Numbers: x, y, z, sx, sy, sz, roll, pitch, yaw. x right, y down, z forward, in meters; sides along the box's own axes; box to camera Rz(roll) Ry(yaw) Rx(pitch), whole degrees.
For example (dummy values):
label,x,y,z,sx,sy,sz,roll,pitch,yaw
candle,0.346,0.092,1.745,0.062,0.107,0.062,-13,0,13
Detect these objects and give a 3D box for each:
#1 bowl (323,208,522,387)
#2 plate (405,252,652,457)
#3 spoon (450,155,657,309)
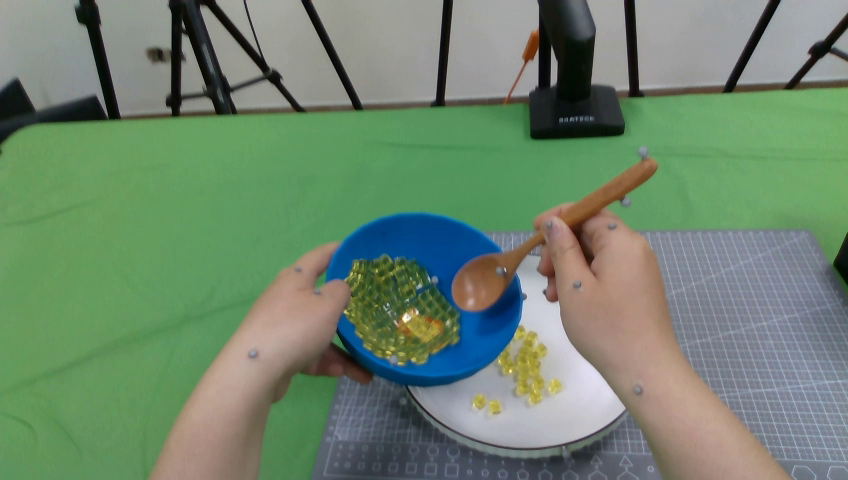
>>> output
label,x,y,z,sx,sy,sz,roll,pitch,yaw
bowl,-0.005,0.056,0.478,0.152,0.077,0.150,6,51,-7
plate,0.082,0.092,0.513,0.207,0.039,0.205,-4,41,4
spoon,0.078,0.000,0.410,0.022,0.194,0.041,3,62,-32
